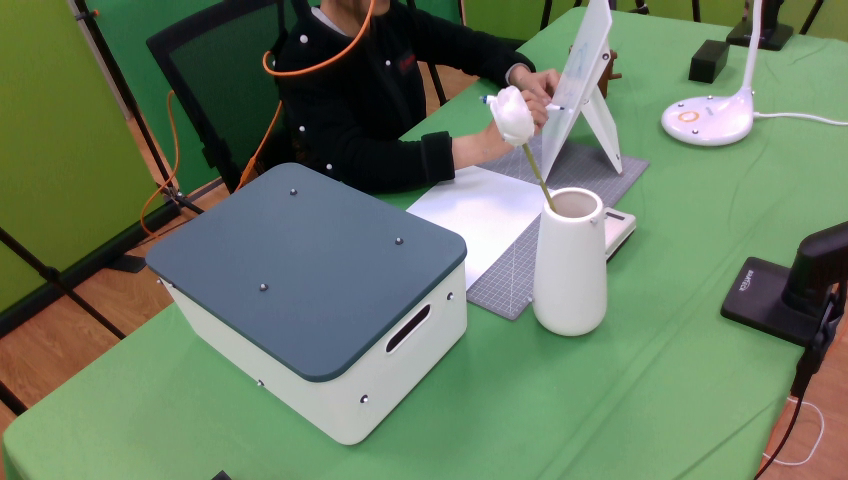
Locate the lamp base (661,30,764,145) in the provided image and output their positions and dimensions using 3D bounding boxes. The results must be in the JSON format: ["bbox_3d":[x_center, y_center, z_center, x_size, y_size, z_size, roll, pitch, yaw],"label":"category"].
[{"bbox_3d":[0.535,-0.287,1.096,0.179,0.181,0.159,-10,40,-4],"label":"lamp base"}]

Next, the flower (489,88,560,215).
[{"bbox_3d":[0.158,-0.027,0.720,0.038,0.364,0.044,-14,44,23],"label":"flower"}]

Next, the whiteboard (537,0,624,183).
[{"bbox_3d":[0.316,-0.256,1.047,0.144,0.306,0.216,15,42,-1],"label":"whiteboard"}]

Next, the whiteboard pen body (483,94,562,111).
[{"bbox_3d":[0.172,-0.237,1.045,0.140,0.017,0.017,9,43,6],"label":"whiteboard pen body"}]

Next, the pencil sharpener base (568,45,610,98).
[{"bbox_3d":[0.345,-0.352,1.263,0.077,0.107,0.061,-8,40,1],"label":"pencil sharpener base"}]

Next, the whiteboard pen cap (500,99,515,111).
[{"bbox_3d":[0.177,-0.287,1.289,0.033,0.018,0.018,-38,48,-25],"label":"whiteboard pen cap"}]

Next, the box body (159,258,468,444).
[{"bbox_3d":[-0.147,0.072,0.816,0.361,0.161,0.255,24,50,33],"label":"box body"}]

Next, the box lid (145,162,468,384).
[{"bbox_3d":[-0.157,0.014,0.769,0.368,0.015,0.264,25,51,33],"label":"box lid"}]

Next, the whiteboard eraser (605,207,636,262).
[{"bbox_3d":[0.273,-0.003,0.919,0.055,0.042,0.113,27,51,33],"label":"whiteboard eraser"}]

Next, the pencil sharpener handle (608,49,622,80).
[{"bbox_3d":[0.394,-0.368,1.253,0.030,0.068,0.036,-8,32,1],"label":"pencil sharpener handle"}]

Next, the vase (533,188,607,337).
[{"bbox_3d":[0.187,0.033,0.771,0.098,0.201,0.097,-6,41,6],"label":"vase"}]
